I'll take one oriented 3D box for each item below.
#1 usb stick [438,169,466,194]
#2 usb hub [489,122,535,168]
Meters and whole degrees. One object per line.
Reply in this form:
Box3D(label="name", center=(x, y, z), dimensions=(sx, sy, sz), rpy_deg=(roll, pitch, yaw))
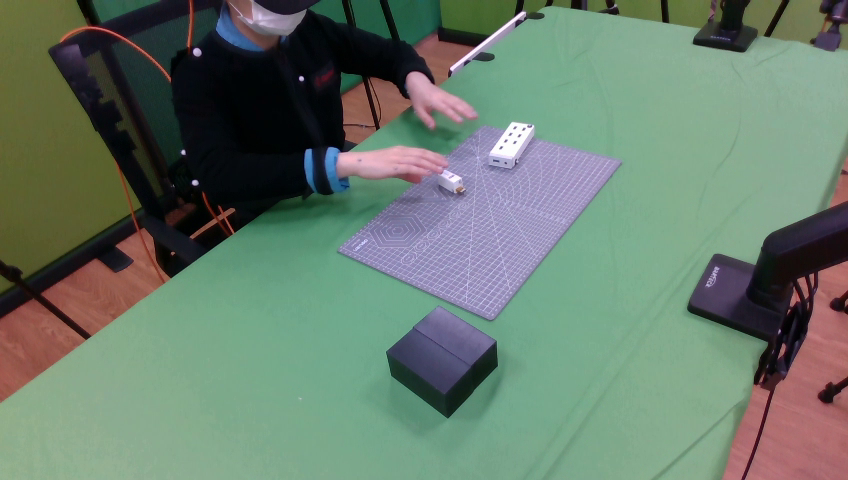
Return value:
Box3D(label="usb stick", center=(0.051, -0.102, 1.073), dimensions=(0.021, 0.027, 0.058), rpy_deg=(-33, 50, -27))
Box3D(label="usb hub", center=(0.168, -0.182, 1.149), dimensions=(0.049, 0.025, 0.125), rpy_deg=(15, 45, 23))
